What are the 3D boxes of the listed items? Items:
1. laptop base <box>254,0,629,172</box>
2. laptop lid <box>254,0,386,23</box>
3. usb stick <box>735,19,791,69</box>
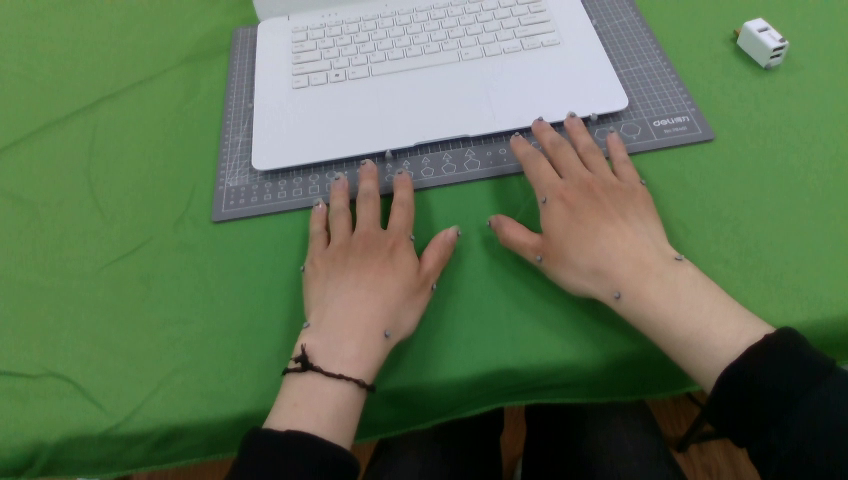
[{"bbox_3d":[0.003,-0.179,0.625,0.354,0.023,0.233,-9,56,0],"label":"laptop base"},{"bbox_3d":[-0.028,-0.366,0.626,0.357,0.244,0.013,-11,35,1],"label":"laptop lid"},{"bbox_3d":[0.328,-0.195,0.592,0.021,0.027,0.058,-18,51,-4],"label":"usb stick"}]
